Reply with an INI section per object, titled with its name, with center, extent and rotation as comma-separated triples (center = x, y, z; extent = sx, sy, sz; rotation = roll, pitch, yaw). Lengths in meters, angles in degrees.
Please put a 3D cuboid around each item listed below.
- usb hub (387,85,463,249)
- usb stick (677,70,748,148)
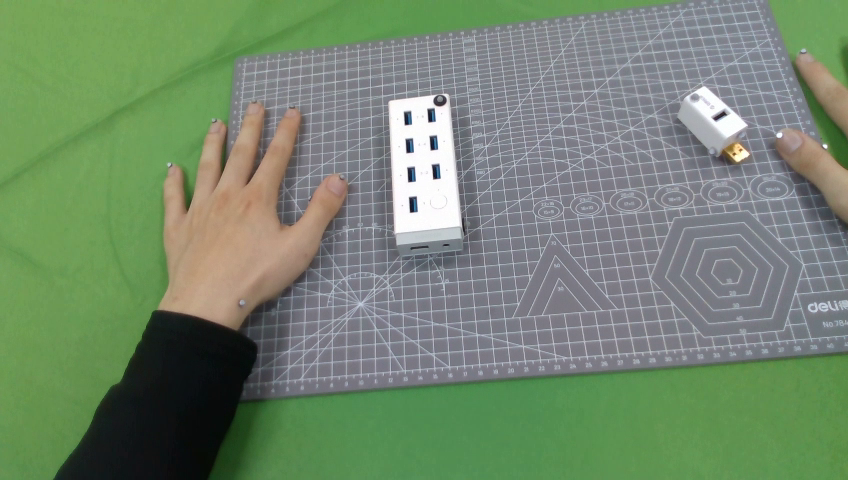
[usb hub]
center = 0.000, -0.056, 0.450
extent = 0.049, 0.025, 0.124
rotation = -6, 67, 4
[usb stick]
center = 0.205, -0.097, 0.440
extent = 0.021, 0.027, 0.058
rotation = -7, 62, -28
